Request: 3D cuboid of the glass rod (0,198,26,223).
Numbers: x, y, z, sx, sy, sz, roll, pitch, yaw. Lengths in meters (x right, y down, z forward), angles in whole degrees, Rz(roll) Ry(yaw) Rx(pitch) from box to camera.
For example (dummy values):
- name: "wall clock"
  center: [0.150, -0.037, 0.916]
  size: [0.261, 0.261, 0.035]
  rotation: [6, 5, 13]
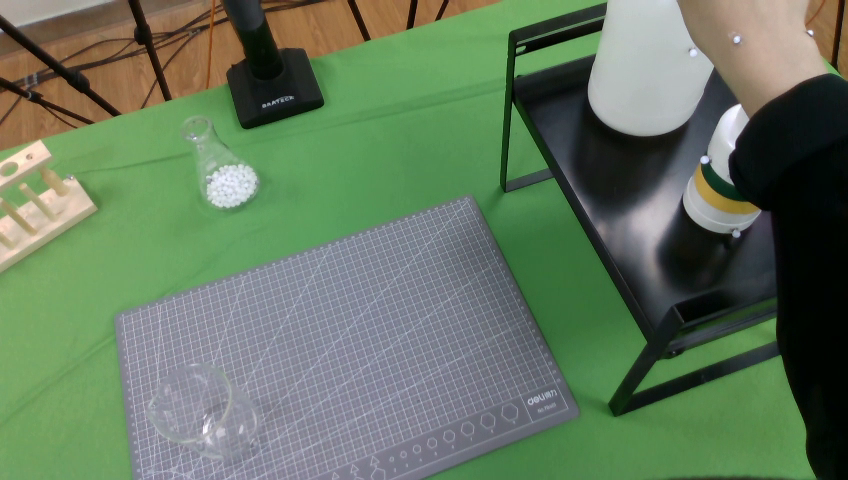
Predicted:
- name: "glass rod"
  center: [-0.528, -0.080, 0.700]
  size: [0.008, 0.202, 0.008]
  rotation: [-5, 52, 6]

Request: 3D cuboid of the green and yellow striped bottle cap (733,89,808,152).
- name: "green and yellow striped bottle cap"
  center: [0.249, -0.087, 0.436]
  size: [0.045, 0.020, 0.045]
  rotation: [-1, 61, 3]

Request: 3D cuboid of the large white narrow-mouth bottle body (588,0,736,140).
- name: "large white narrow-mouth bottle body"
  center: [0.202, -0.180, 0.512]
  size: [0.102, 0.196, 0.101]
  rotation: [-2, 60, 4]

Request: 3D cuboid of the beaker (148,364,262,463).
- name: "beaker"
  center: [-0.209, 0.175, 0.595]
  size: [0.084, 0.101, 0.073]
  rotation: [-11, 59, -1]

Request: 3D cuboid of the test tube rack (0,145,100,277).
- name: "test tube rack"
  center: [-0.539, -0.005, 0.734]
  size: [0.242, 0.086, 0.066]
  rotation: [-38, 64, -17]

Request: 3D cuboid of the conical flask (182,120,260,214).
- name: "conical flask"
  center: [-0.255, -0.093, 0.744]
  size: [0.075, 0.123, 0.074]
  rotation: [-2, 59, 4]

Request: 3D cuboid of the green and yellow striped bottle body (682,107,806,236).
- name: "green and yellow striped bottle body"
  center: [0.253, -0.059, 0.480]
  size: [0.063, 0.121, 0.062]
  rotation: [-2, 59, 4]
